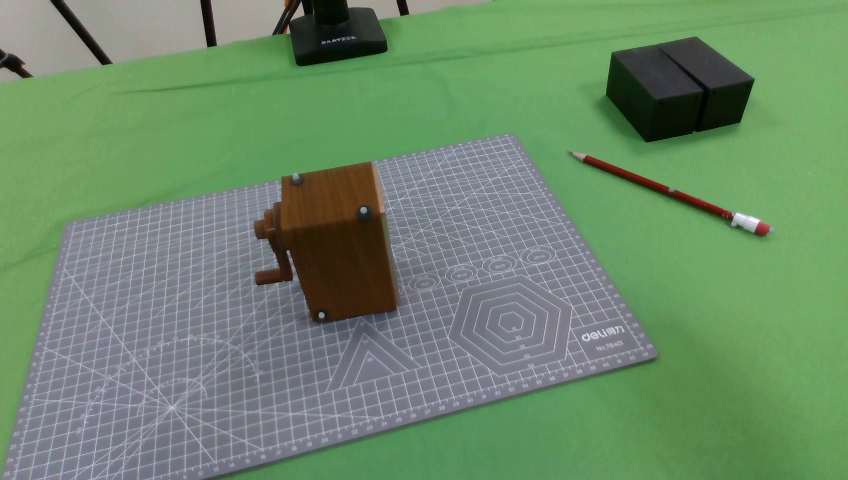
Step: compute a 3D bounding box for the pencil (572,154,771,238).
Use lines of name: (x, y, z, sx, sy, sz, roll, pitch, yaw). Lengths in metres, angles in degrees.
pencil: (0.218, -0.046, 0.557, 0.192, 0.012, 0.012, 30, 54, 33)

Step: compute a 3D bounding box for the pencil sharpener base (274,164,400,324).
pencil sharpener base: (-0.063, 0.006, 0.455, 0.077, 0.108, 0.060, -10, 44, -4)

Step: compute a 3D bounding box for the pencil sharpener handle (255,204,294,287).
pencil sharpener handle: (-0.114, 0.007, 0.441, 0.031, 0.068, 0.035, -10, 38, -4)
